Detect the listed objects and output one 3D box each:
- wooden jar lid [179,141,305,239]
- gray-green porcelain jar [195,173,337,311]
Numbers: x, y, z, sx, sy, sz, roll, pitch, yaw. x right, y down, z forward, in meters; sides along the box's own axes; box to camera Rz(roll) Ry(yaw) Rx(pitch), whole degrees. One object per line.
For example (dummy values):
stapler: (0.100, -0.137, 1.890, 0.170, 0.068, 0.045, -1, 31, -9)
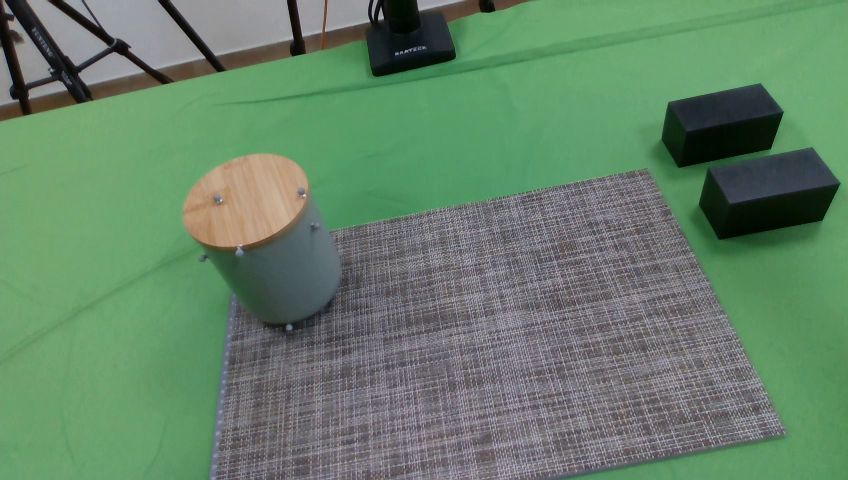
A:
wooden jar lid: (-0.154, -0.041, 0.522, 0.108, 0.021, 0.107, -3, 54, 4)
gray-green porcelain jar: (-0.144, -0.002, 0.569, 0.106, 0.128, 0.105, -5, 51, 7)
